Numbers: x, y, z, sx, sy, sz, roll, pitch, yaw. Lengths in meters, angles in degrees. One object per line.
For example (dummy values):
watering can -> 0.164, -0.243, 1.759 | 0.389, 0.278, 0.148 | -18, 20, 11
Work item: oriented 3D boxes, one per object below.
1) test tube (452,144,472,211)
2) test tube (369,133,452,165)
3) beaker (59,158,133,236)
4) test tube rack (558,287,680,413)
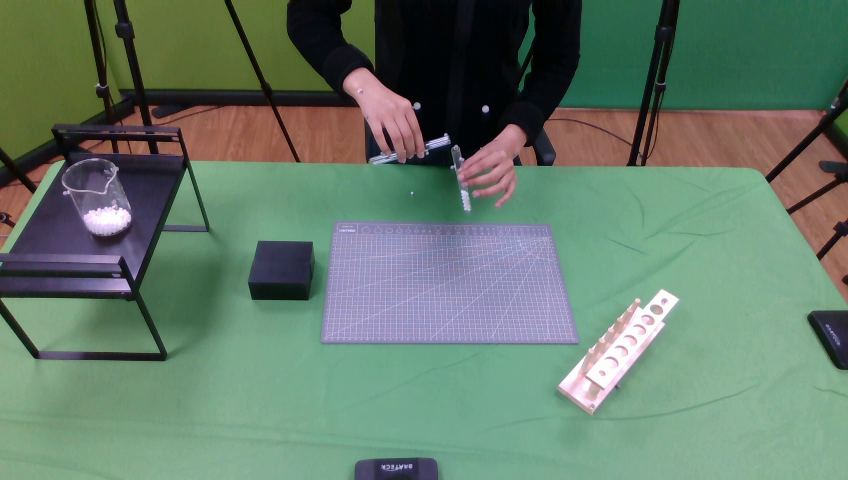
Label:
test tube -> 0.068, -0.109, 1.088 | 0.017, 0.151, 0.017 | -8, 45, 8
test tube -> -0.025, -0.154, 1.034 | 0.150, 0.017, 0.017 | -15, 45, 13
beaker -> -0.488, -0.060, 0.915 | 0.074, 0.101, 0.083 | -35, 58, -30
test tube rack -> 0.326, 0.170, 1.009 | 0.066, 0.085, 0.242 | 36, 54, 26
